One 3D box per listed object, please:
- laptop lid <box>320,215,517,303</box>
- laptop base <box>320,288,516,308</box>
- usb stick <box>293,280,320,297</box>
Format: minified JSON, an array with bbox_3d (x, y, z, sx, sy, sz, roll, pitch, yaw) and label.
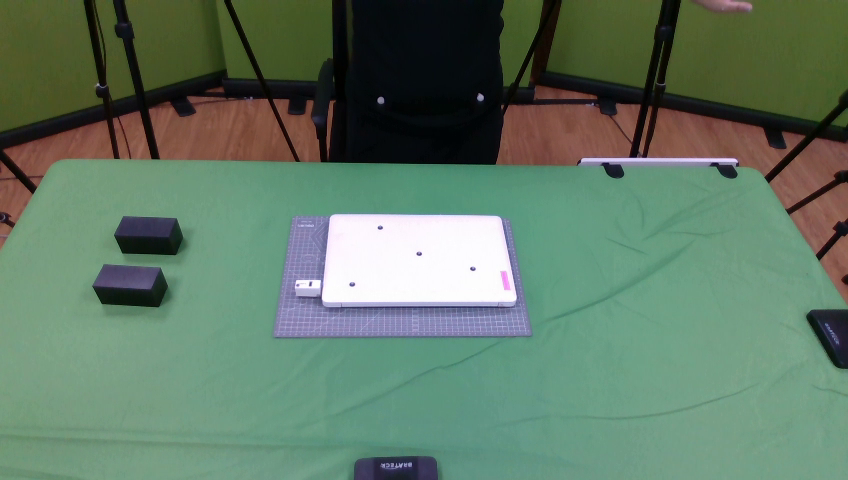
[{"bbox_3d":[-0.012,0.030,1.153,0.357,0.013,0.240,2,43,-3],"label":"laptop lid"},{"bbox_3d":[-0.013,0.040,1.159,0.355,0.023,0.234,0,43,-4],"label":"laptop base"},{"bbox_3d":[-0.202,0.087,1.082,0.059,0.027,0.021,4,45,-4],"label":"usb stick"}]
